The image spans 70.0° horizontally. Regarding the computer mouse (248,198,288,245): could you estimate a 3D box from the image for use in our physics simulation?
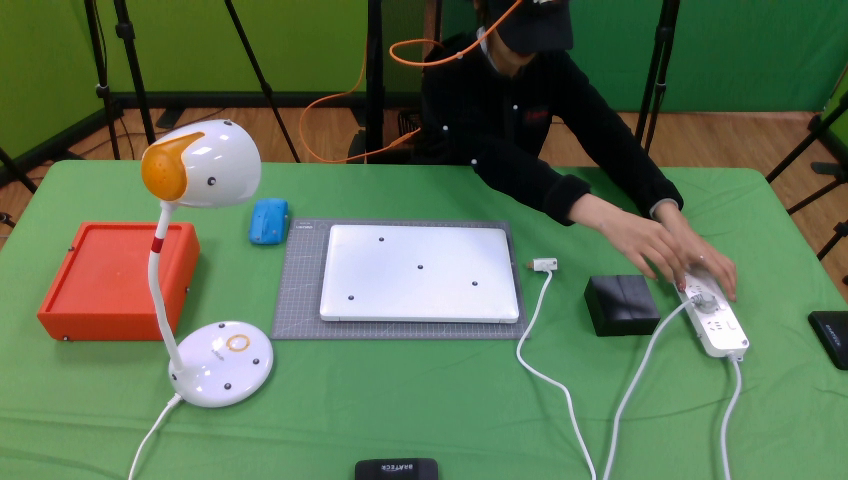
[{"bbox_3d":[-0.309,-0.041,1.205,0.063,0.041,0.116,3,50,-3],"label":"computer mouse"}]

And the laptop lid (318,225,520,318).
[{"bbox_3d":[-0.009,0.053,1.130,0.357,0.013,0.240,2,43,-2],"label":"laptop lid"}]

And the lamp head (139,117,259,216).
[{"bbox_3d":[-0.281,-0.086,0.734,0.112,0.113,0.123,21,25,16],"label":"lamp head"}]

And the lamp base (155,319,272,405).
[{"bbox_3d":[-0.330,0.149,0.918,0.160,0.181,0.179,26,52,20],"label":"lamp base"}]

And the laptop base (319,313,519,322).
[{"bbox_3d":[-0.009,0.063,1.137,0.354,0.023,0.234,1,42,-3],"label":"laptop base"}]

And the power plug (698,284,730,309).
[{"bbox_3d":[0.510,0.096,1.059,0.052,0.073,0.035,-22,61,10],"label":"power plug"}]

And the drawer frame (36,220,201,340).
[{"bbox_3d":[-0.518,0.065,1.055,0.202,0.083,0.212,0,47,-5],"label":"drawer frame"}]

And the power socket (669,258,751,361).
[{"bbox_3d":[0.519,0.117,1.109,0.072,0.033,0.225,-2,46,-4],"label":"power socket"}]

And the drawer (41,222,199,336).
[{"bbox_3d":[-0.519,0.064,1.058,0.195,0.073,0.210,1,47,-4],"label":"drawer"}]

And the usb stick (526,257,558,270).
[{"bbox_3d":[0.226,0.046,1.160,0.059,0.021,0.027,-2,8,8],"label":"usb stick"}]
